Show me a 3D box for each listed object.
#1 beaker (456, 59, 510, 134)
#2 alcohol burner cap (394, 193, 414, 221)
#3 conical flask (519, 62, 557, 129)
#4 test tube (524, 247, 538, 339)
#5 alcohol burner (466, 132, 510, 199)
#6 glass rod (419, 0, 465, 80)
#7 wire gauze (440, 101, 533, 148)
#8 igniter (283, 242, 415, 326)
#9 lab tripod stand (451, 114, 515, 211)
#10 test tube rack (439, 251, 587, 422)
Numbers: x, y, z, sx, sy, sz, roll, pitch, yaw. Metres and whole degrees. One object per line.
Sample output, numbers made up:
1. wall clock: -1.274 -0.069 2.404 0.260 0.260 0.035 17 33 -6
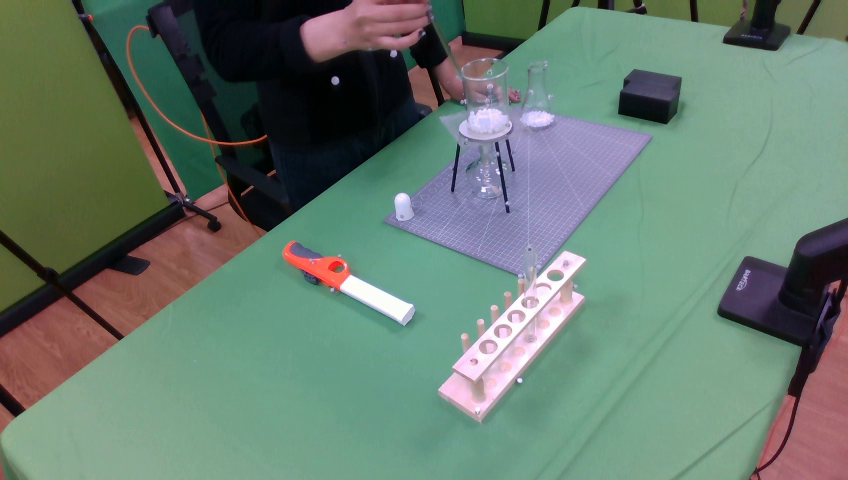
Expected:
1. beaker: 0.098 -0.226 0.964 0.084 0.101 0.073 -7 39 4
2. alcohol burner cap: -0.036 -0.059 1.040 0.034 0.048 0.033 -5 41 5
3. conical flask: 0.225 -0.287 1.199 0.075 0.122 0.075 -6 40 5
4. test tube: 0.133 0.070 0.749 0.017 0.151 0.017 -5 38 4
5. alcohol burner: 0.110 -0.132 1.044 0.078 0.119 0.077 -5 38 5
6. glass rod: 0.014 -0.291 0.815 0.008 0.201 0.008 -17 47 20
7. wire gauze: 0.100 -0.189 0.995 0.125 0.011 0.120 -16 37 -6
8. igniter: -0.126 0.062 0.931 0.274 0.025 0.057 24 61 33
9. lab tripod stand: 0.113 -0.140 1.037 0.148 0.132 0.147 -6 38 5
10. test tube rack: 0.118 0.111 0.780 0.066 0.085 0.243 26 51 35
